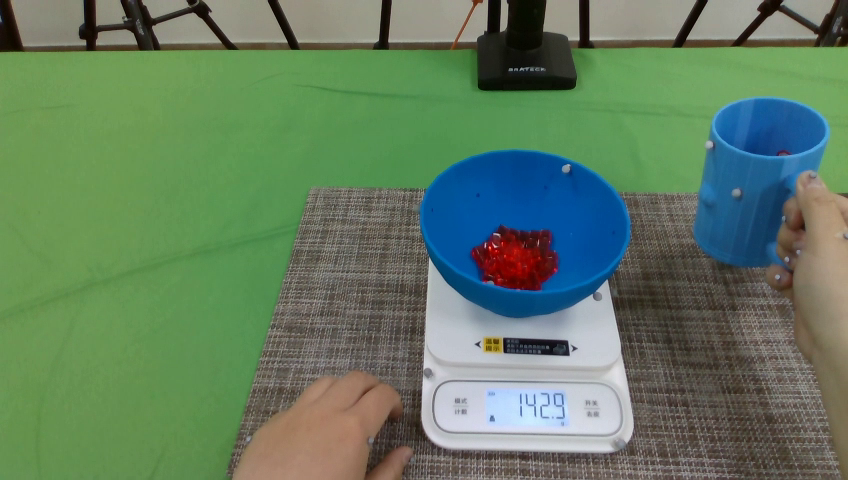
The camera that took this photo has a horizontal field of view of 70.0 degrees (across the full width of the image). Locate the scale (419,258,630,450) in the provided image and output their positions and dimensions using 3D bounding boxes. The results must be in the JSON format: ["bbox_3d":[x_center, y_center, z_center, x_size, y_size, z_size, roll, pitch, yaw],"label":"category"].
[{"bbox_3d":[0.074,0.064,0.477,0.148,0.032,0.199,1,47,3],"label":"scale"}]

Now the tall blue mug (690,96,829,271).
[{"bbox_3d":[0.262,-0.037,0.458,0.078,0.109,0.106,-33,47,-20],"label":"tall blue mug"}]

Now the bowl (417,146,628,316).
[{"bbox_3d":[0.070,0.005,0.460,0.151,0.077,0.150,0,47,1],"label":"bowl"}]
